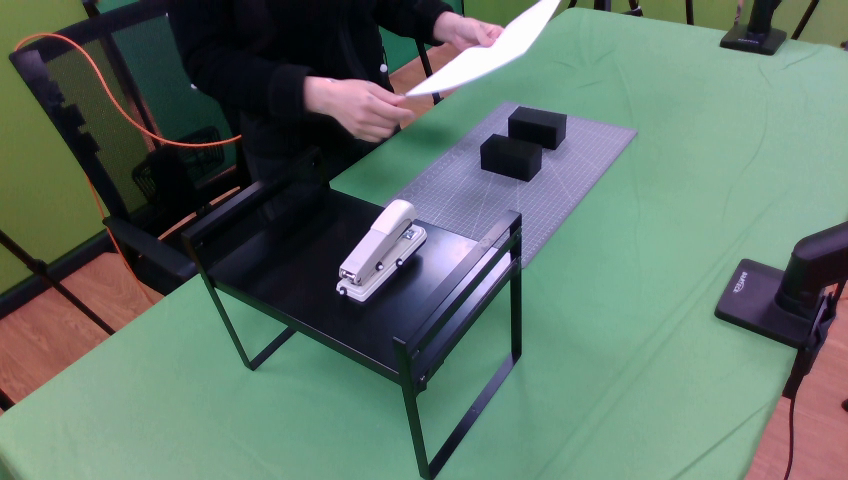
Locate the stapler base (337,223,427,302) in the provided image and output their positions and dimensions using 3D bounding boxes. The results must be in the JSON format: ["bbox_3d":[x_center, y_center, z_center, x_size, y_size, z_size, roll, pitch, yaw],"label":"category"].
[{"bbox_3d":[-0.046,0.016,0.685,0.041,0.024,0.131,18,48,31],"label":"stapler base"}]

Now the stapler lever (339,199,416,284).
[{"bbox_3d":[-0.050,-0.002,0.668,0.026,0.040,0.118,17,47,31],"label":"stapler lever"}]
